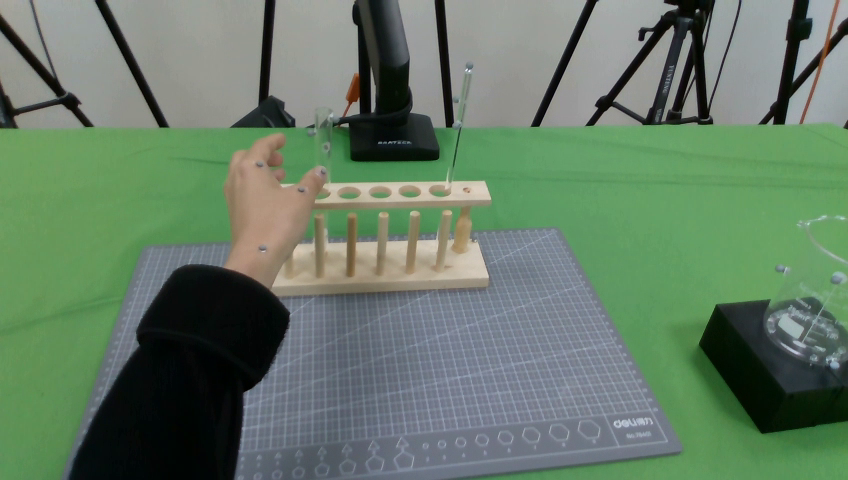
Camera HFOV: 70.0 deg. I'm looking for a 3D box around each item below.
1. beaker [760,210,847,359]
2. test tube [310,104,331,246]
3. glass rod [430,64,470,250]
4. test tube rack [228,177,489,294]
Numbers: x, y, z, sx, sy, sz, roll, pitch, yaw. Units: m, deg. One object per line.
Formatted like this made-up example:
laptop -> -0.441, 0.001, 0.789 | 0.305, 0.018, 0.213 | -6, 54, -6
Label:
beaker -> 0.316, 0.036, 0.476 | 0.074, 0.101, 0.083 | -24, 44, -32
test tube -> -0.097, -0.055, 0.566 | 0.017, 0.151, 0.017 | 6, 35, -4
glass rod -> 0.022, -0.068, 0.566 | 0.008, 0.201, 0.008 | 6, 38, -5
test tube rack -> -0.059, -0.006, 0.587 | 0.243, 0.086, 0.066 | -2, 37, -8
